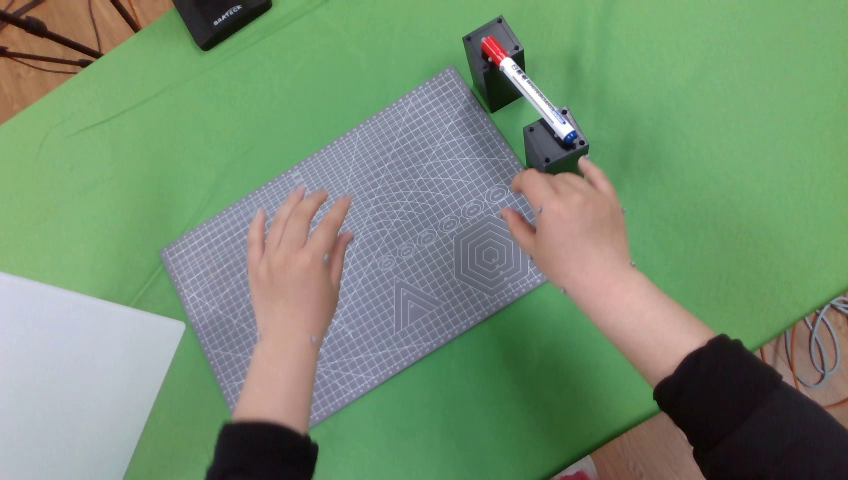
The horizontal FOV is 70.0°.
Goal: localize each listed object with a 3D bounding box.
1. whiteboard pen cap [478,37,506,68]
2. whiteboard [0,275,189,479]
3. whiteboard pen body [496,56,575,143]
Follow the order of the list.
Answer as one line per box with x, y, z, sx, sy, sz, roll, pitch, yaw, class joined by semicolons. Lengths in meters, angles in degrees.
0.073;-0.201;0.649;0.017;0.017;0.032;-37;74;1;whiteboard pen cap
-0.460;0.144;0.659;0.143;0.308;0.216;14;79;35;whiteboard
0.108;-0.155;0.631;0.017;0.017;0.139;-37;73;1;whiteboard pen body
